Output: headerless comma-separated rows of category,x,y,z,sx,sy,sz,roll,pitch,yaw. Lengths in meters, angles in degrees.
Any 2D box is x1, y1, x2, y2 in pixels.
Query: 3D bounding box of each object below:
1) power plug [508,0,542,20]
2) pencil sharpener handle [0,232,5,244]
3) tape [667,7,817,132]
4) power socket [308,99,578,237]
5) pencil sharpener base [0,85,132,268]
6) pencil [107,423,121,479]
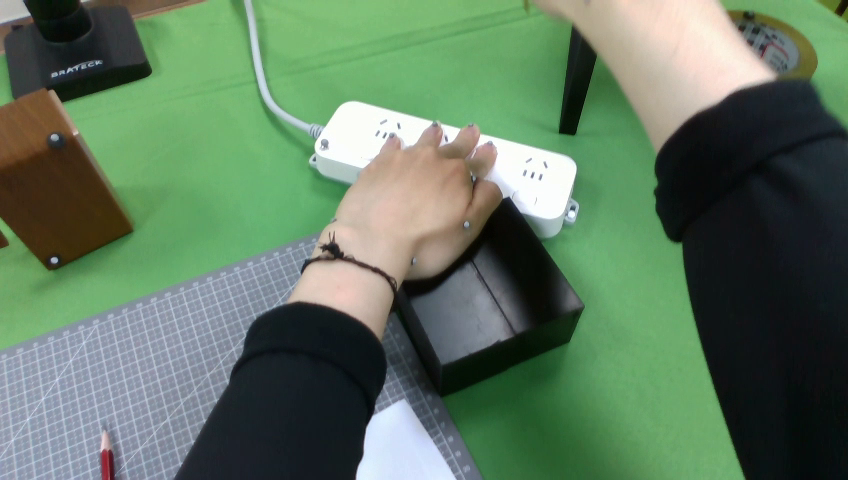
power plug,0.068,-0.190,0.413,0.035,0.053,0.072,-4,62,5
pencil sharpener handle,-0.308,-0.020,0.398,0.030,0.068,0.035,-32,39,-21
tape,0.290,-0.158,0.556,0.117,0.053,0.115,0,55,0
power socket,0.015,-0.061,0.495,0.226,0.033,0.072,17,55,12
pencil sharpener base,-0.271,-0.041,0.430,0.077,0.108,0.061,-32,61,-21
pencil,-0.166,0.187,0.326,0.012,0.012,0.192,-15,53,-11
